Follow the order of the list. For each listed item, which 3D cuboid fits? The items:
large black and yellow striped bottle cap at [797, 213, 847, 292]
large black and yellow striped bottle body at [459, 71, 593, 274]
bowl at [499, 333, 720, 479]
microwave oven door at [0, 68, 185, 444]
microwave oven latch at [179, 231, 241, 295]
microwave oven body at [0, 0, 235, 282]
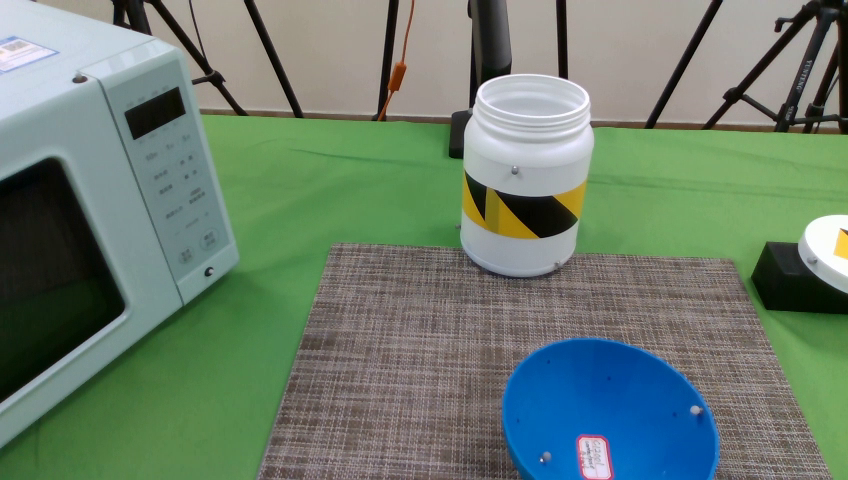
[{"bbox_3d":[0.432,0.014,0.594,0.115,0.019,0.114,-1,39,1],"label":"large black and yellow striped bottle cap"},{"bbox_3d":[0.105,-0.071,0.640,0.131,0.185,0.129,0,37,0],"label":"large black and yellow striped bottle body"},{"bbox_3d":[0.129,0.151,0.454,0.151,0.077,0.150,0,40,1],"label":"bowl"},{"bbox_3d":[-0.344,0.060,0.414,0.039,0.246,0.355,21,44,24],"label":"microwave oven door"},{"bbox_3d":[-0.225,0.020,0.622,0.030,0.030,0.079,24,46,25],"label":"microwave oven latch"},{"bbox_3d":[-0.446,-0.007,0.504,0.324,0.262,0.440,22,45,24],"label":"microwave oven body"}]
